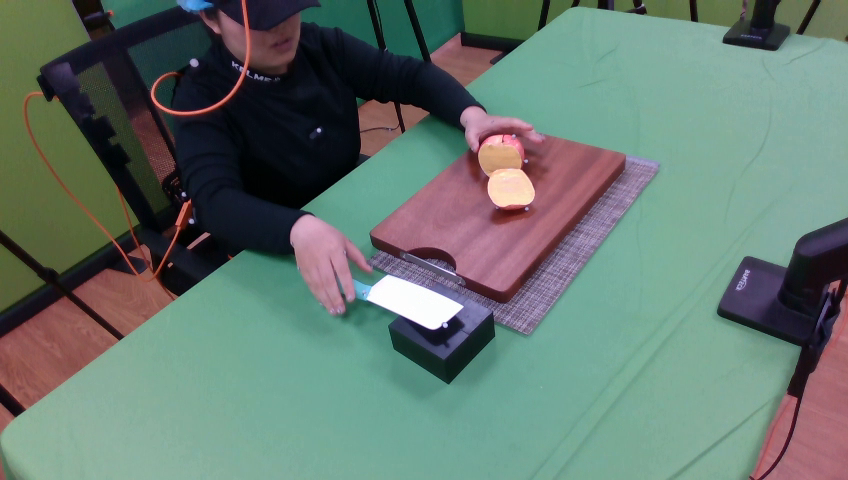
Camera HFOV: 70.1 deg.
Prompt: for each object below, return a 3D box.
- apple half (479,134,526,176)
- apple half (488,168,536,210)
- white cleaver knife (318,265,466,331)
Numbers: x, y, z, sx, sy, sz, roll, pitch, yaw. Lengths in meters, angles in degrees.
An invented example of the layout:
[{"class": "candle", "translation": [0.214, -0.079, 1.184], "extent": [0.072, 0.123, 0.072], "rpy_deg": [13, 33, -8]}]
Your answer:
[{"class": "apple half", "translation": [0.141, -0.149, 1.052], "extent": [0.080, 0.075, 0.053], "rpy_deg": [7, 38, 24]}, {"class": "apple half", "translation": [0.142, -0.080, 0.995], "extent": [0.081, 0.033, 0.081], "rpy_deg": [1, 63, -1]}, {"class": "white cleaver knife", "translation": [-0.056, 0.076, 0.871], "extent": [0.284, 0.021, 0.066], "rpy_deg": [17, 40, 43]}]
